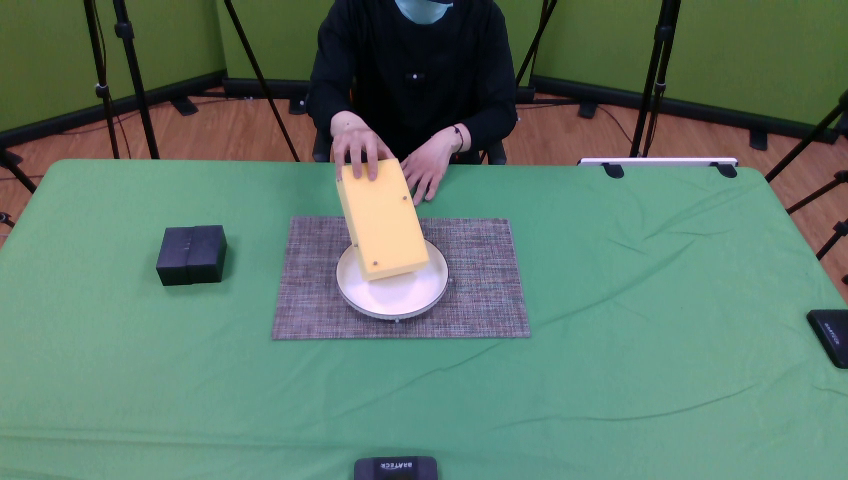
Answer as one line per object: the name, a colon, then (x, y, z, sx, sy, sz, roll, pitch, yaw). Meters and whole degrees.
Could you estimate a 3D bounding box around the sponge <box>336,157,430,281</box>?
sponge: (-0.078, -0.039, 1.103, 0.118, 0.061, 0.206, -13, 75, -17)

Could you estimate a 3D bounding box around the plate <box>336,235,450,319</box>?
plate: (-0.056, 0.065, 1.113, 0.208, 0.039, 0.206, 2, 46, -2)
